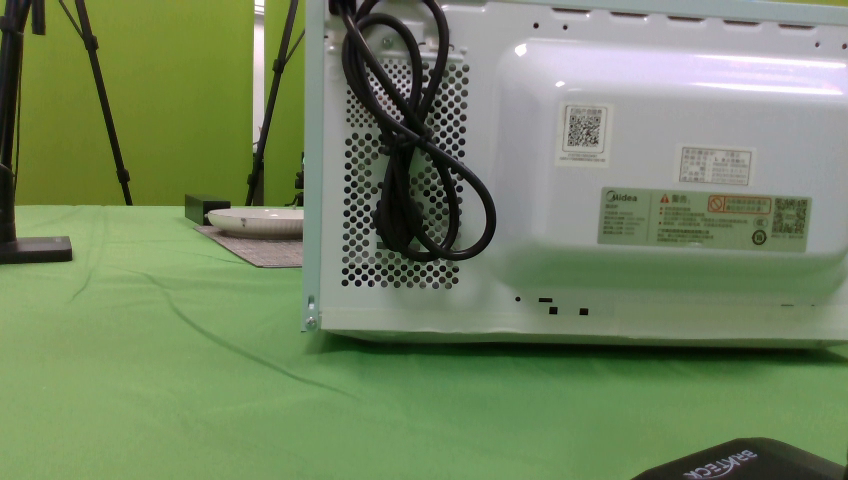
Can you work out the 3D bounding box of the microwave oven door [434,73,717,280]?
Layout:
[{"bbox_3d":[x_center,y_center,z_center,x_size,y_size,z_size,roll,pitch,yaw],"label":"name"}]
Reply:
[{"bbox_3d":[0.180,-0.089,0.794,0.354,0.243,0.039,6,7,30],"label":"microwave oven door"}]

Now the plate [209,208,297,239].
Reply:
[{"bbox_3d":[-0.271,-0.029,1.073,0.208,0.039,0.207,3,7,0],"label":"plate"}]

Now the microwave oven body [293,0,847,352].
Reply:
[{"bbox_3d":[0.122,-0.055,0.550,0.442,0.260,0.325,3,7,-5],"label":"microwave oven body"}]

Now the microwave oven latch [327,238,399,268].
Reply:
[{"bbox_3d":[-0.069,0.015,0.694,0.079,0.029,0.030,3,7,-3],"label":"microwave oven latch"}]

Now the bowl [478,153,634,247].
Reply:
[{"bbox_3d":[0.133,-0.037,0.596,0.151,0.077,0.151,-7,6,1],"label":"bowl"}]
